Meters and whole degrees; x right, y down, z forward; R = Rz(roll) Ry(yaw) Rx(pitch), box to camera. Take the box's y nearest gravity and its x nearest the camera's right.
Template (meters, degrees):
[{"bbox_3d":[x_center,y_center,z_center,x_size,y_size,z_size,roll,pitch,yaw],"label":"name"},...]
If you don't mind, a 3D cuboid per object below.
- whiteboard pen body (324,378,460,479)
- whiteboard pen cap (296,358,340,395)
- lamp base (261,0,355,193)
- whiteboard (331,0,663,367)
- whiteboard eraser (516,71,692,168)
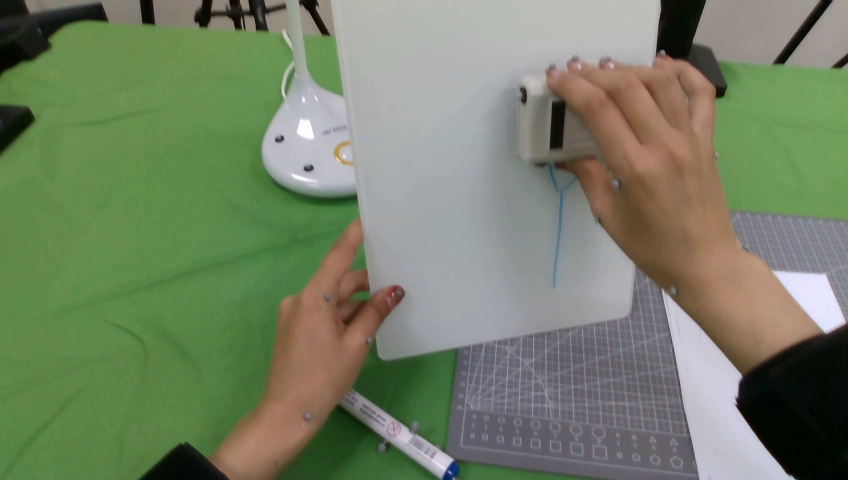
[{"bbox_3d":[-0.034,0.130,0.439,0.139,0.017,0.017,27,51,26],"label":"whiteboard pen body"},{"bbox_3d":[-0.081,0.104,0.464,0.033,0.018,0.018,27,51,27],"label":"whiteboard pen cap"},{"bbox_3d":[-0.105,-0.166,0.616,0.160,0.182,0.177,-31,51,-27],"label":"lamp base"},{"bbox_3d":[0.047,-0.081,0.487,0.217,0.308,0.142,-8,27,-8],"label":"whiteboard"},{"bbox_3d":[0.118,-0.081,0.407,0.113,0.056,0.041,-6,32,-8],"label":"whiteboard eraser"}]
